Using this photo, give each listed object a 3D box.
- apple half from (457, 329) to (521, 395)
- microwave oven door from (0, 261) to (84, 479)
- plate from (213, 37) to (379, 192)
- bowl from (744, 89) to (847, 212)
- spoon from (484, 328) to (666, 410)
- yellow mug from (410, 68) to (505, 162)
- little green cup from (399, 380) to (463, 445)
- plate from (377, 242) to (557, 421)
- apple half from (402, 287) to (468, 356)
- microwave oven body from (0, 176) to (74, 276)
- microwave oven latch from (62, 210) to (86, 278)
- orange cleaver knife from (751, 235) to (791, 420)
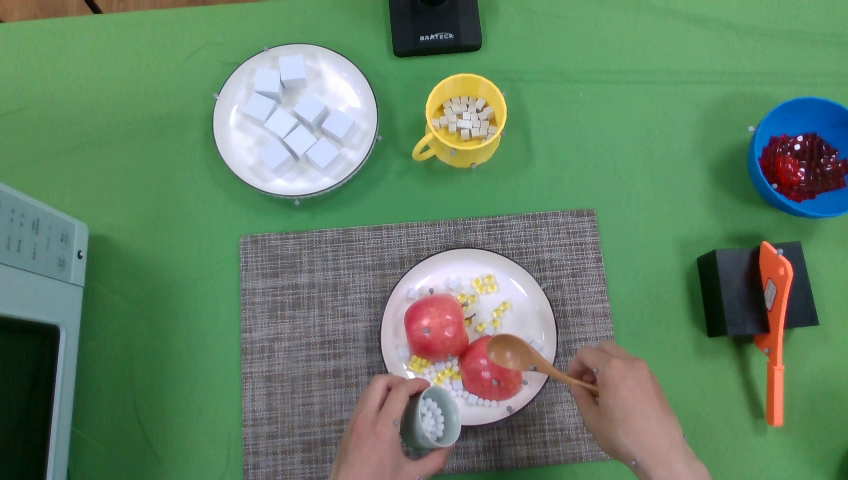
[{"bbox_3d":[0.076,0.142,0.703,0.081,0.033,0.081,0,75,1],"label":"apple half"},{"bbox_3d":[-0.419,0.197,0.576,0.039,0.245,0.354,-2,78,0],"label":"microwave oven door"},{"bbox_3d":[-0.160,-0.157,0.776,0.208,0.039,0.206,0,78,0],"label":"plate"},{"bbox_3d":[0.459,-0.099,0.746,0.151,0.077,0.150,0,78,0],"label":"bowl"},{"bbox_3d":[0.148,0.134,0.619,0.192,0.022,0.042,19,116,33],"label":"spoon"},{"bbox_3d":[0.036,-0.147,0.760,0.131,0.064,0.099,-36,80,-7],"label":"yellow mug"},{"bbox_3d":[0.005,0.181,0.625,0.062,0.039,0.061,22,47,-25],"label":"little green cup"},{"bbox_3d":[0.049,0.106,0.717,0.209,0.038,0.208,0,79,-1],"label":"plate"},{"bbox_3d":[0.012,0.094,0.703,0.074,0.053,0.080,-7,79,1],"label":"apple half"},{"bbox_3d":[-0.567,0.160,0.588,0.326,0.261,0.439,-1,79,-1],"label":"microwave oven body"},{"bbox_3d":[-0.423,0.005,0.720,0.030,0.029,0.079,1,79,-1],"label":"microwave oven latch"},{"bbox_3d":[0.397,0.101,0.701,0.012,0.077,0.212,-4,101,3],"label":"orange cleaver knife"}]
